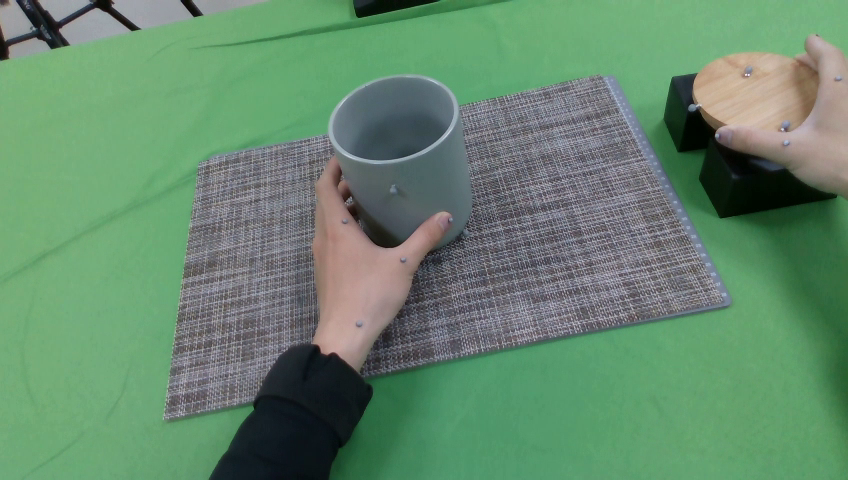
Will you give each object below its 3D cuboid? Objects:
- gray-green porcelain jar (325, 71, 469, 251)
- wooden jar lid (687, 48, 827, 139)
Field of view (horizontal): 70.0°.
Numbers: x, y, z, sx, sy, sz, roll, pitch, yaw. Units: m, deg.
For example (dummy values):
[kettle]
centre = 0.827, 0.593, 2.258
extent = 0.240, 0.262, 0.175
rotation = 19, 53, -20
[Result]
[gray-green porcelain jar]
centre = -0.017, -0.061, 0.519
extent = 0.106, 0.128, 0.105
rotation = -5, 52, 7
[wooden jar lid]
centre = 0.283, -0.125, 0.521
extent = 0.108, 0.021, 0.107
rotation = -5, 53, 7
